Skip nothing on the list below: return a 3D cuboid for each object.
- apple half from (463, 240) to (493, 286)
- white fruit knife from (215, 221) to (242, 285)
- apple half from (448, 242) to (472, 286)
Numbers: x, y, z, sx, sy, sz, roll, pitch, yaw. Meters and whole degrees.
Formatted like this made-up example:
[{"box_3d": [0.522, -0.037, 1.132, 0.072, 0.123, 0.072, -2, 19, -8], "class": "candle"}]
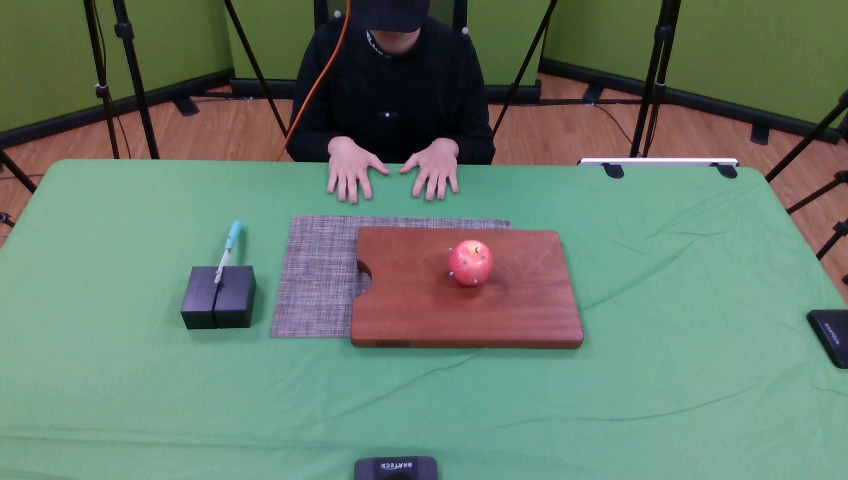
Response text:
[{"box_3d": [0.097, 0.042, 1.093, 0.053, 0.075, 0.080, -3, 42, -13], "class": "apple half"}, {"box_3d": [-0.360, 0.019, 1.114, 0.016, 0.027, 0.206, -1, 32, -5], "class": "white fruit knife"}, {"box_3d": [0.059, 0.046, 1.085, 0.033, 0.081, 0.080, -3, 46, -13], "class": "apple half"}]
